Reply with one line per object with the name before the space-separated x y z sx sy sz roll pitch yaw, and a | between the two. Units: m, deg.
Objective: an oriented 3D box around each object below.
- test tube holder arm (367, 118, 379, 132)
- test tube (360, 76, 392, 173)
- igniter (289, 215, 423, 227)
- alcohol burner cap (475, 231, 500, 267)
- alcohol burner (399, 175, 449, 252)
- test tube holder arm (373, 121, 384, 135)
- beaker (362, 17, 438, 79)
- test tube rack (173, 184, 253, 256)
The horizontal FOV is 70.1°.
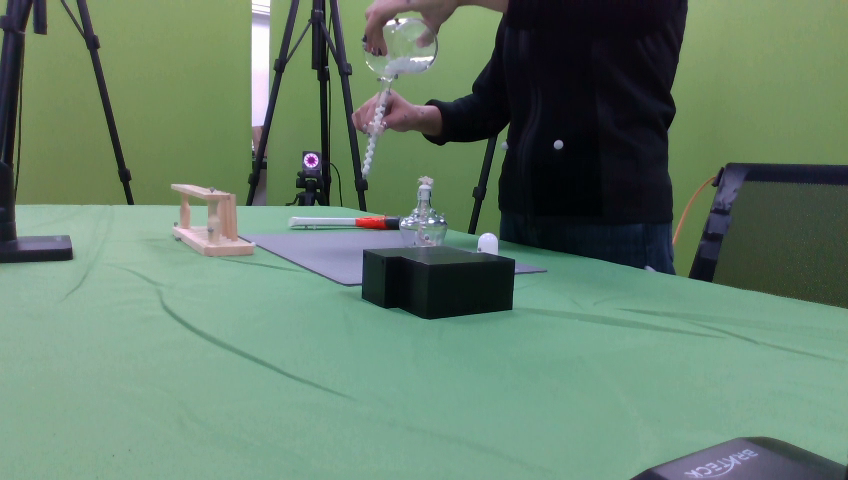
test tube holder arm | -0.082 -0.187 0.979 0.013 0.015 0.178 18 12 -8
test tube | -0.073 -0.172 0.912 0.017 0.150 0.017 14 18 -5
igniter | -0.133 -0.038 1.232 0.278 0.025 0.057 -1 -2 -25
alcohol burner cap | 0.088 0.012 0.830 0.034 0.048 0.034 2 6 0
alcohol burner | 0.000 -0.041 0.937 0.078 0.119 0.078 0 7 0
test tube holder arm | -0.072 -0.174 0.936 0.010 0.015 0.087 16 13 -15
beaker | -0.032 -0.267 0.840 0.074 0.084 0.100 -11 18 -28
test tube rack | -0.329 -0.036 0.927 0.067 0.085 0.241 -2 9 -32
